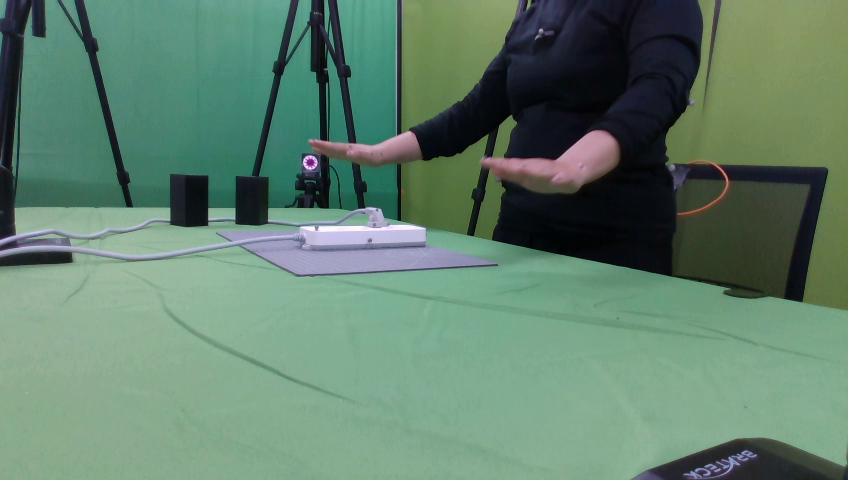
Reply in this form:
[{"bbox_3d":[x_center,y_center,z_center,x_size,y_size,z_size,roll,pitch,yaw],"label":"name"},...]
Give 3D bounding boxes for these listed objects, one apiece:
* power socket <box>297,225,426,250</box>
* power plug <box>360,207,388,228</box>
[{"bbox_3d":[-0.099,-0.006,0.992,0.228,0.032,0.072,-2,8,-31],"label":"power socket"},{"bbox_3d":[-0.085,-0.029,1.032,0.035,0.052,0.072,1,5,-20],"label":"power plug"}]
